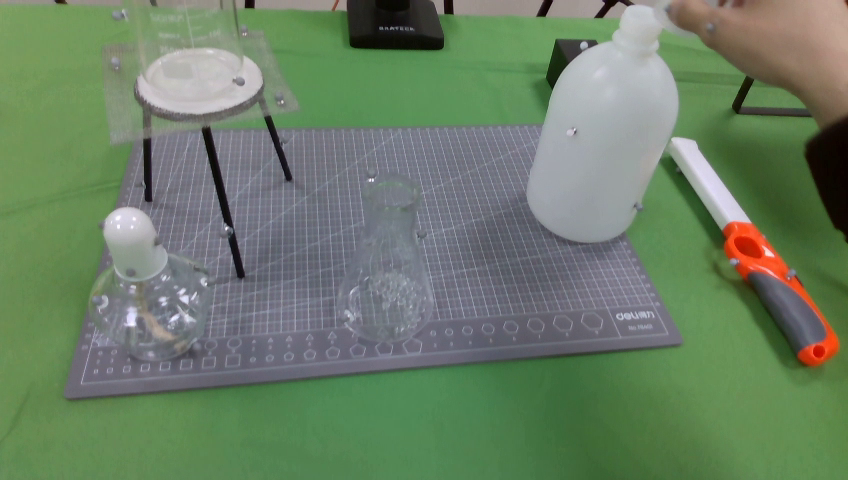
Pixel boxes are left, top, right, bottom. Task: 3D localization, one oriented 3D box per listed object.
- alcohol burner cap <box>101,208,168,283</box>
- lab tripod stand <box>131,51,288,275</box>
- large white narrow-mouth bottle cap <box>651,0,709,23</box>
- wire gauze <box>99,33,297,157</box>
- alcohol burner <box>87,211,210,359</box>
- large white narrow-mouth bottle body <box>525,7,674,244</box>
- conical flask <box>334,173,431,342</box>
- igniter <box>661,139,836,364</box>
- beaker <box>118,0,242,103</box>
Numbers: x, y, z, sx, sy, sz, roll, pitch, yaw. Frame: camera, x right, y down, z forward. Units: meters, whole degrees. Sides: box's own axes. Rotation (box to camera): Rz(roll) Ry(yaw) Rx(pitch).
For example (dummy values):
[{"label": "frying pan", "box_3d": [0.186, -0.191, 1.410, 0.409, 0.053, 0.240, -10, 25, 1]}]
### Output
[{"label": "alcohol burner cap", "box_3d": [-0.181, 0.002, 0.376, 0.034, 0.048, 0.033, 4, 51, -4]}, {"label": "lab tripod stand", "box_3d": [-0.166, -0.066, 0.481, 0.148, 0.132, 0.147, 5, 46, -5]}, {"label": "large white narrow-mouth bottle cap", "box_3d": [0.172, -0.163, 0.403, 0.038, 0.024, 0.037, 3, 45, -3]}, {"label": "wire gauze", "box_3d": [-0.165, -0.113, 0.436, 0.122, 0.011, 0.123, -15, 53, -18]}, {"label": "alcohol burner", "box_3d": [-0.185, 0.026, 0.403, 0.078, 0.120, 0.077, 5, 44, -4]}, {"label": "large white narrow-mouth bottle body", "box_3d": [0.150, -0.095, 0.506, 0.102, 0.196, 0.101, 3, 45, -3]}, {"label": "conical flask", "box_3d": [-0.027, 0.011, 0.432, 0.075, 0.123, 0.074, 4, 45, -3]}, {"label": "igniter", "box_3d": [0.288, -0.004, 0.556, 0.057, 0.025, 0.273, 6, 44, -17]}, {"label": "beaker", "box_3d": [-0.164, -0.150, 0.402, 0.084, 0.101, 0.073, -8, 48, -14]}]
